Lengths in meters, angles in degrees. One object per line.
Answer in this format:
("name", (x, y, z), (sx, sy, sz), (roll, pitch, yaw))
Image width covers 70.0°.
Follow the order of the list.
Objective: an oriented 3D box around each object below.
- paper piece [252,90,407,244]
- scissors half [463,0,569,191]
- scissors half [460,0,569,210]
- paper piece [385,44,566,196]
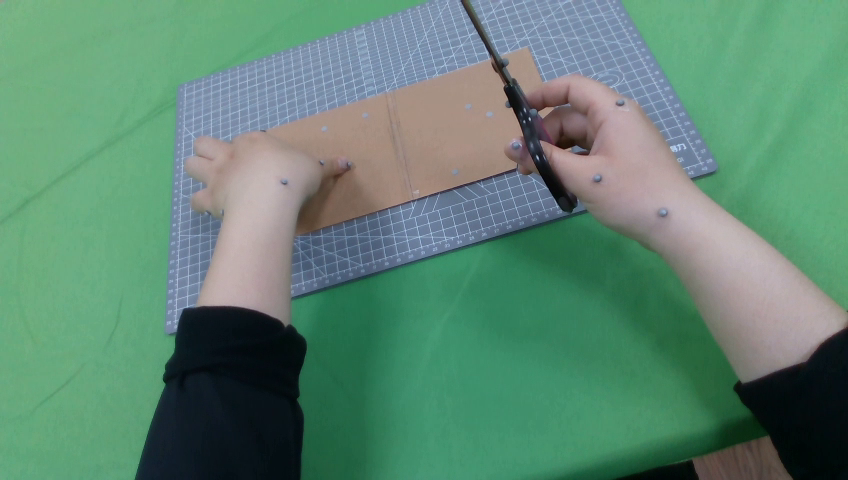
("paper piece", (-0.089, -0.071, 0.541), (0.138, 0.009, 0.134), (-16, 53, 7))
("scissors half", (0.052, -0.104, 0.385), (0.013, 0.176, 0.039), (-22, 27, 24))
("scissors half", (0.048, -0.095, 0.368), (0.013, 0.176, 0.040), (-24, 11, 19))
("paper piece", (0.039, -0.109, 0.527), (0.135, 0.004, 0.134), (-16, 56, 6))
